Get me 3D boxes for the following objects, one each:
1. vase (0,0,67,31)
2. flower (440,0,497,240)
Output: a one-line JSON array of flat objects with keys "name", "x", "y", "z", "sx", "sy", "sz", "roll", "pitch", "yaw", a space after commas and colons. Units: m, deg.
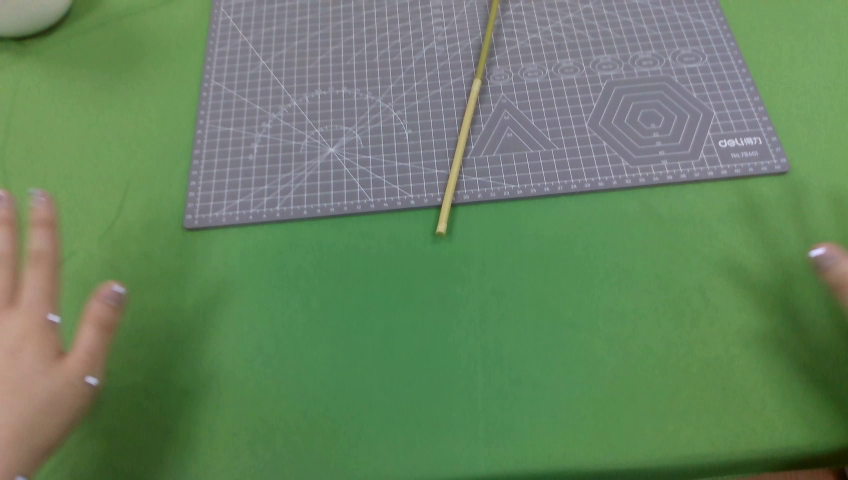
[{"name": "vase", "x": -0.374, "y": -0.268, "z": 0.480, "sx": 0.098, "sy": 0.201, "sz": 0.097, "roll": -1, "pitch": 61, "yaw": 2}, {"name": "flower", "x": 0.050, "y": -0.165, "z": 0.507, "sx": 0.044, "sy": 0.038, "sz": 0.359, "roll": 23, "pitch": 66, "yaw": -27}]
